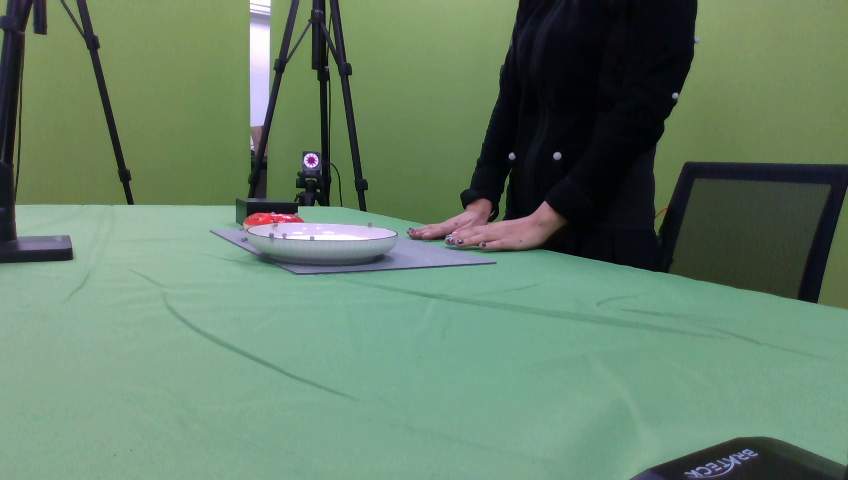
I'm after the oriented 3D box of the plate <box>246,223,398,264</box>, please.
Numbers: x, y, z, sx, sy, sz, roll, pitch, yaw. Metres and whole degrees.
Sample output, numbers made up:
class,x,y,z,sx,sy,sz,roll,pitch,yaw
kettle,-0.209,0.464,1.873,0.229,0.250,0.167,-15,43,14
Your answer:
class,x,y,z,sx,sy,sz,roll,pitch,yaw
plate,-0.140,0.004,0.847,0.209,0.038,0.209,2,7,0

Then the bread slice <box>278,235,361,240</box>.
class,x,y,z,sx,sy,sz,roll,pitch,yaw
bread slice,-0.139,0.007,0.839,0.132,0.019,0.104,-2,8,-35

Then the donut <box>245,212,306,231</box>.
class,x,y,z,sx,sy,sz,roll,pitch,yaw
donut,-0.244,-0.023,0.997,0.099,0.048,0.099,2,5,0
